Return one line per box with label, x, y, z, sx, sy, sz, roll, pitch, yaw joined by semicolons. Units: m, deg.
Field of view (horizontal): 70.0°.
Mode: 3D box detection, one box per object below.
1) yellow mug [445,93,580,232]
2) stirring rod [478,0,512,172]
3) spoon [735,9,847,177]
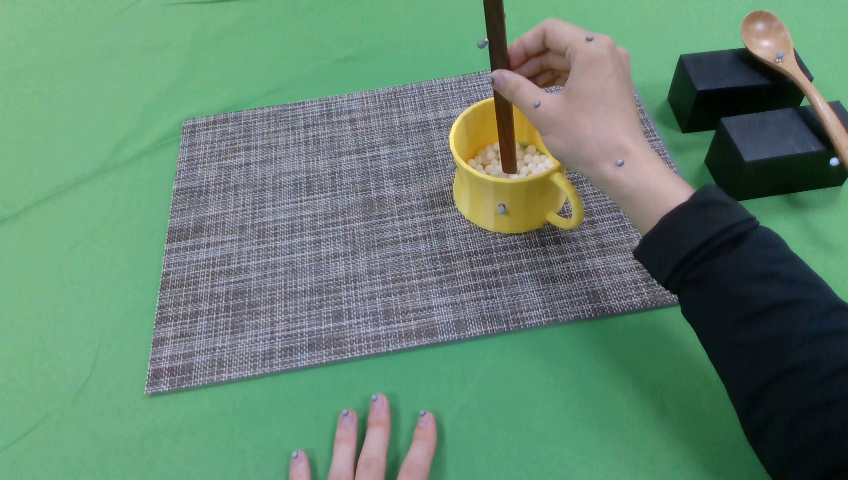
yellow mug;0.079;-0.056;0.499;0.100;0.064;0.129;-36;59;-19
stirring rod;0.055;-0.116;0.460;0.014;0.178;0.006;10;54;20
spoon;0.307;-0.122;0.495;0.041;0.022;0.191;-9;56;-2
